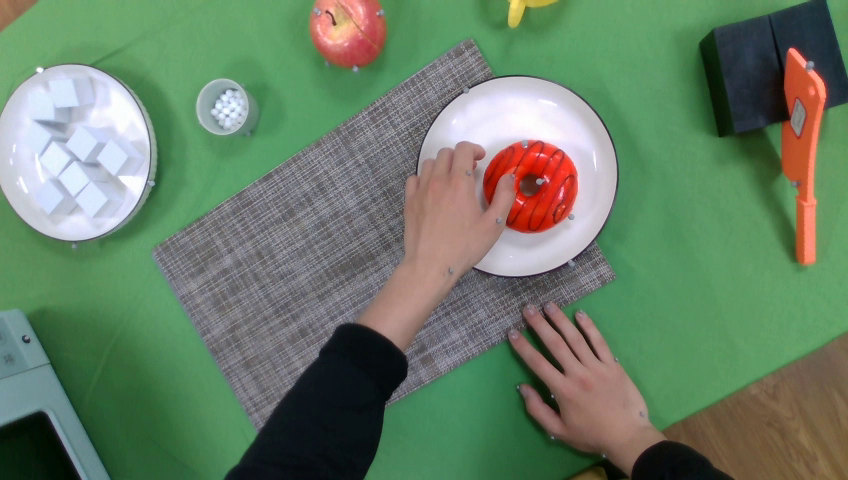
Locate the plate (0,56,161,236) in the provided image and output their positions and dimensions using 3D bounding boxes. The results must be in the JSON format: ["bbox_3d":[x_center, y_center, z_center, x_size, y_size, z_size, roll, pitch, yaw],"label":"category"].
[{"bbox_3d":[-0.404,-0.109,0.718,0.207,0.039,0.208,1,94,9],"label":"plate"}]

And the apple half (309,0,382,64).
[{"bbox_3d":[-0.089,-0.219,0.642,0.053,0.074,0.081,-40,91,14],"label":"apple half"}]

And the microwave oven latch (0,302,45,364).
[{"bbox_3d":[-0.493,0.114,0.731,0.030,0.029,0.079,-25,91,9],"label":"microwave oven latch"}]

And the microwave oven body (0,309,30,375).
[{"bbox_3d":[-0.553,0.345,0.660,0.326,0.260,0.441,-28,90,9],"label":"microwave oven body"}]

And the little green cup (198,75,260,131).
[{"bbox_3d":[-0.217,-0.152,0.685,0.061,0.038,0.061,1,94,10],"label":"little green cup"}]

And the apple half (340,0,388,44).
[{"bbox_3d":[-0.059,-0.244,0.634,0.033,0.081,0.081,-40,87,15],"label":"apple half"}]

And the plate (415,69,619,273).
[{"bbox_3d":[0.095,-0.071,0.636,0.209,0.038,0.209,1,94,9],"label":"plate"}]

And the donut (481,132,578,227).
[{"bbox_3d":[0.109,-0.062,0.624,0.099,0.048,0.099,1,97,11],"label":"donut"}]

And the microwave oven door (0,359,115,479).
[{"bbox_3d":[-0.407,0.315,0.629,0.039,0.244,0.355,-29,89,10],"label":"microwave oven door"}]

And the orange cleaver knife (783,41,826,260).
[{"bbox_3d":[0.356,-0.079,0.575,0.012,0.076,0.213,-11,122,13],"label":"orange cleaver knife"}]

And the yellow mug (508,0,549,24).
[{"bbox_3d":[0.107,-0.283,0.608,0.100,0.064,0.131,17,98,8],"label":"yellow mug"}]
